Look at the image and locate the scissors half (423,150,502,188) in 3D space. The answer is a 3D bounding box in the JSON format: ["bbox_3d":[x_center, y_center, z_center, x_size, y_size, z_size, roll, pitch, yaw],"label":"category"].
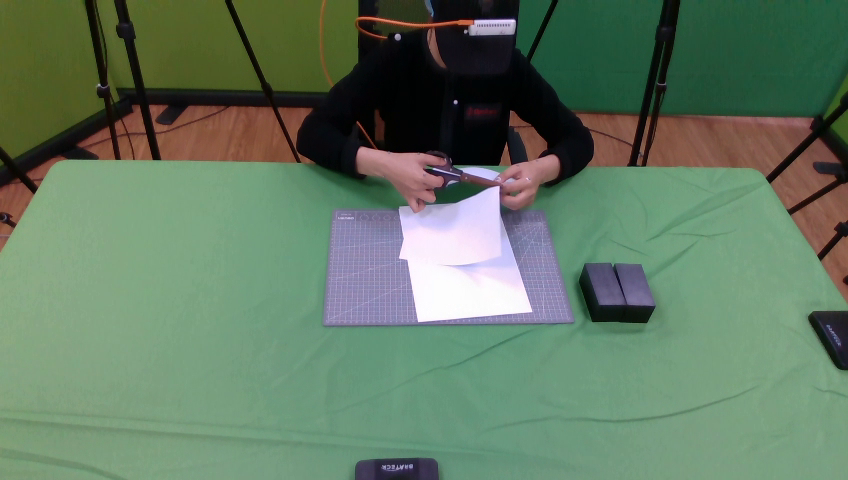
[{"bbox_3d":[0.075,-0.137,1.195,0.174,0.040,0.013,26,30,15],"label":"scissors half"}]

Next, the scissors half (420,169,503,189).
[{"bbox_3d":[0.073,-0.118,1.203,0.175,0.040,0.013,6,18,24],"label":"scissors half"}]
